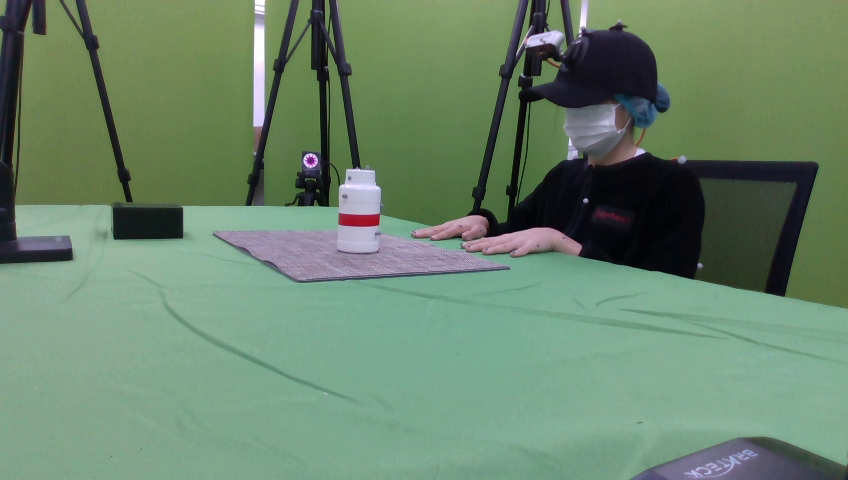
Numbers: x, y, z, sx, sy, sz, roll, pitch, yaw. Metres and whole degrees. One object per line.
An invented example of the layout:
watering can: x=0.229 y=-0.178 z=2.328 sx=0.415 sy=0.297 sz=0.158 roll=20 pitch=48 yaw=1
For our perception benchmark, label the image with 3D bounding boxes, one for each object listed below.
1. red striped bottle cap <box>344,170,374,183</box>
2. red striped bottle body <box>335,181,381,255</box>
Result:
red striped bottle cap: x=-0.094 y=-0.093 z=0.887 sx=0.044 sy=0.017 sz=0.044 roll=5 pitch=5 yaw=0
red striped bottle body: x=-0.097 y=-0.042 z=0.894 sx=0.063 sy=0.119 sz=0.063 roll=4 pitch=8 yaw=0
